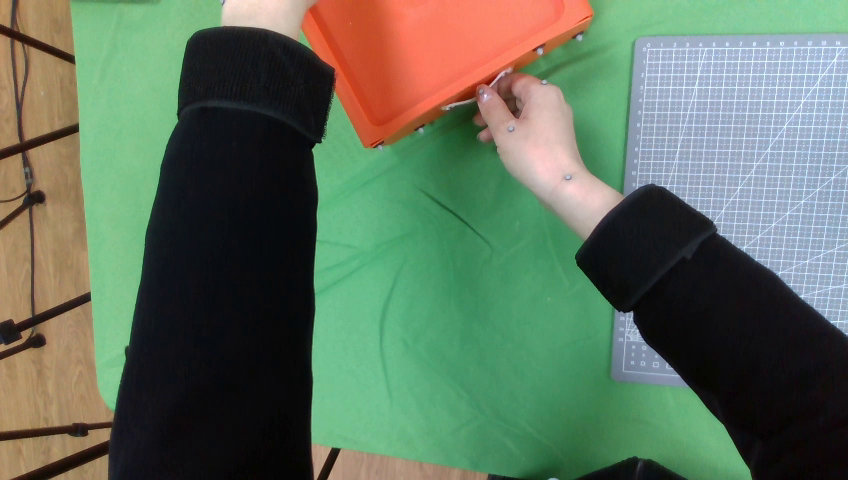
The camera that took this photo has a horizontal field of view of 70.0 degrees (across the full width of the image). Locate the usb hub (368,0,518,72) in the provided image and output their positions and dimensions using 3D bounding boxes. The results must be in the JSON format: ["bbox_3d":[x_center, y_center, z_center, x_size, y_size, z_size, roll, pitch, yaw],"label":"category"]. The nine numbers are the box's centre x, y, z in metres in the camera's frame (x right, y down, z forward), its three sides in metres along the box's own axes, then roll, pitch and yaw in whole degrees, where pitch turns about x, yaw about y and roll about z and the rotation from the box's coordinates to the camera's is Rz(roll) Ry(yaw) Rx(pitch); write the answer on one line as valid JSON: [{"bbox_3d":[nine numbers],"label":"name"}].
[{"bbox_3d":[0.019,-0.192,0.497,0.125,0.025,0.049,-27,96,17],"label":"usb hub"}]

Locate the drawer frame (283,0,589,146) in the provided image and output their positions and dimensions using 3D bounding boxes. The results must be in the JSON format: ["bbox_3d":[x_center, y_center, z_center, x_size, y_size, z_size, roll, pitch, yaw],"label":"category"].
[{"bbox_3d":[-0.009,-0.214,0.479,0.201,0.082,0.214,-28,95,16],"label":"drawer frame"}]

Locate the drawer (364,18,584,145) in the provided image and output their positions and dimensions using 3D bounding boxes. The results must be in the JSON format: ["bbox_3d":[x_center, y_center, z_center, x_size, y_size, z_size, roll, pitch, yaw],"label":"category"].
[{"bbox_3d":[-0.007,-0.213,0.482,0.194,0.073,0.212,-27,94,16],"label":"drawer"}]
